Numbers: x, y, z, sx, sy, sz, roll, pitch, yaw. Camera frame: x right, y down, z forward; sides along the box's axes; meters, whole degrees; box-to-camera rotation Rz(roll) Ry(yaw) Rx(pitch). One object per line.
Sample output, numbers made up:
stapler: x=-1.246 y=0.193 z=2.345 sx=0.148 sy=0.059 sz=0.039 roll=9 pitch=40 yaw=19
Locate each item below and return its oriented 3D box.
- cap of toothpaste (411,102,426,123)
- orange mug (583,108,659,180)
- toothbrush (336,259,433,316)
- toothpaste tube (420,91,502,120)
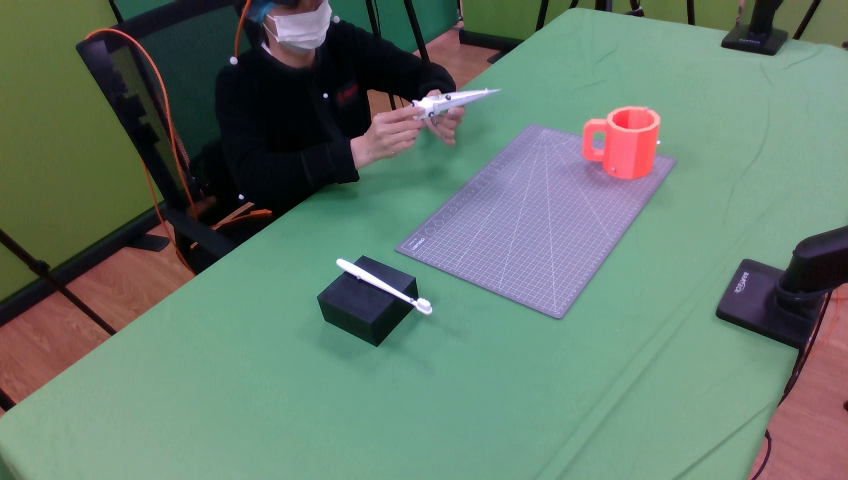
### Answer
cap of toothpaste: x=-0.009 y=-0.214 z=1.012 sx=0.011 sy=0.037 sz=0.037 roll=-23 pitch=41 yaw=-29
orange mug: x=0.343 y=-0.171 z=1.061 sx=0.126 sy=0.101 sz=0.083 roll=10 pitch=43 yaw=15
toothbrush: x=-0.059 y=0.062 z=0.839 sx=0.180 sy=0.017 sz=0.014 roll=24 pitch=54 yaw=33
toothpaste tube: x=0.058 y=-0.239 z=1.047 sx=0.166 sy=0.034 sz=0.054 roll=-21 pitch=22 yaw=-28
